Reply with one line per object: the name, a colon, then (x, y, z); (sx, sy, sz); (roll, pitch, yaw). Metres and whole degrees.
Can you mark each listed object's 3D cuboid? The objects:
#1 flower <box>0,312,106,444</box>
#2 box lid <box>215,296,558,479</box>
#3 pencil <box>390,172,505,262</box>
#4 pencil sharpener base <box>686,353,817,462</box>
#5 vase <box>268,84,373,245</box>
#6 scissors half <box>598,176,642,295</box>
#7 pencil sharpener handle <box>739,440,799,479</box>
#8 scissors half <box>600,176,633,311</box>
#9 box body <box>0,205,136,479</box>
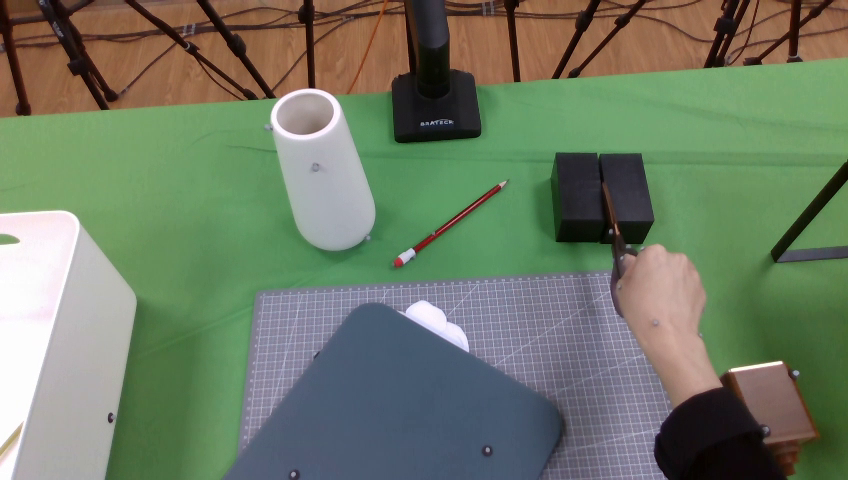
flower: (-0.444, 0.205, 0.638); (0.038, 0.044, 0.359); (-13, 34, 23)
box lid: (-0.058, 0.245, 0.587); (0.262, 0.015, 0.370); (28, 65, 17)
pencil: (0.034, -0.032, 0.753); (0.194, 0.012, 0.012); (-38, 64, -21)
pencil sharpener base: (0.303, 0.163, 0.569); (0.061, 0.108, 0.076); (-8, 59, -3)
vase: (-0.115, -0.079, 0.675); (0.098, 0.202, 0.097); (-2, 58, 3)
scissors half: (0.208, -0.013, 0.656); (0.013, 0.040, 0.173); (1, 44, -3)
pencil sharpener handle: (0.305, 0.200, 0.532); (0.036, 0.068, 0.030); (0, 58, -15)
scissors half: (0.207, 0.000, 0.671); (0.013, 0.040, 0.173); (4, 61, -6)
box body: (-0.441, 0.166, 0.560); (0.254, 0.162, 0.360); (-5, 59, -1)
